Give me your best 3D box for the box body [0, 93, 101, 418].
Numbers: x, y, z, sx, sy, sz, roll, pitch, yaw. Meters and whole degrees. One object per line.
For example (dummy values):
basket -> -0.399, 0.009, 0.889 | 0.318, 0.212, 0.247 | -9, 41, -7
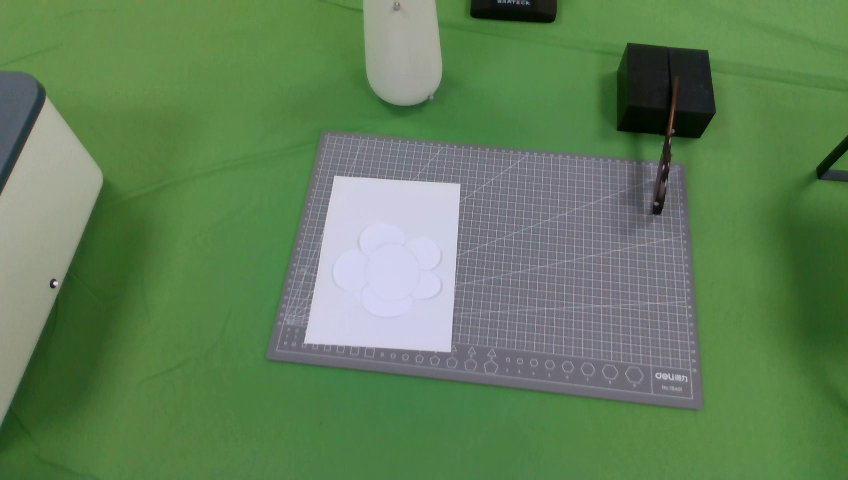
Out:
box body -> -0.522, 0.017, 0.602 | 0.254, 0.161, 0.361 | 6, 64, 4

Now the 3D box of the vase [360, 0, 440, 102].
vase -> -0.031, -0.257, 0.714 | 0.098, 0.201, 0.097 | -1, 62, 2

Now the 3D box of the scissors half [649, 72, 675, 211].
scissors half -> 0.281, -0.117, 0.711 | 0.012, 0.040, 0.174 | 9, 82, 20

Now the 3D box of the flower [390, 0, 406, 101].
flower -> -0.037, -0.306, 0.646 | 0.044, 0.365, 0.038 | -1, 46, 4

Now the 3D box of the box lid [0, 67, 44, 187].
box lid -> -0.523, -0.018, 0.537 | 0.263, 0.015, 0.368 | 6, 65, 4

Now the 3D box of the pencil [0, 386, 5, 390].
pencil -> -0.523, 0.136, 0.622 | 0.194, 0.012, 0.012 | 10, 64, 2

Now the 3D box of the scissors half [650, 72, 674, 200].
scissors half -> 0.276, -0.124, 0.692 | 0.013, 0.040, 0.174 | 10, 65, 15
